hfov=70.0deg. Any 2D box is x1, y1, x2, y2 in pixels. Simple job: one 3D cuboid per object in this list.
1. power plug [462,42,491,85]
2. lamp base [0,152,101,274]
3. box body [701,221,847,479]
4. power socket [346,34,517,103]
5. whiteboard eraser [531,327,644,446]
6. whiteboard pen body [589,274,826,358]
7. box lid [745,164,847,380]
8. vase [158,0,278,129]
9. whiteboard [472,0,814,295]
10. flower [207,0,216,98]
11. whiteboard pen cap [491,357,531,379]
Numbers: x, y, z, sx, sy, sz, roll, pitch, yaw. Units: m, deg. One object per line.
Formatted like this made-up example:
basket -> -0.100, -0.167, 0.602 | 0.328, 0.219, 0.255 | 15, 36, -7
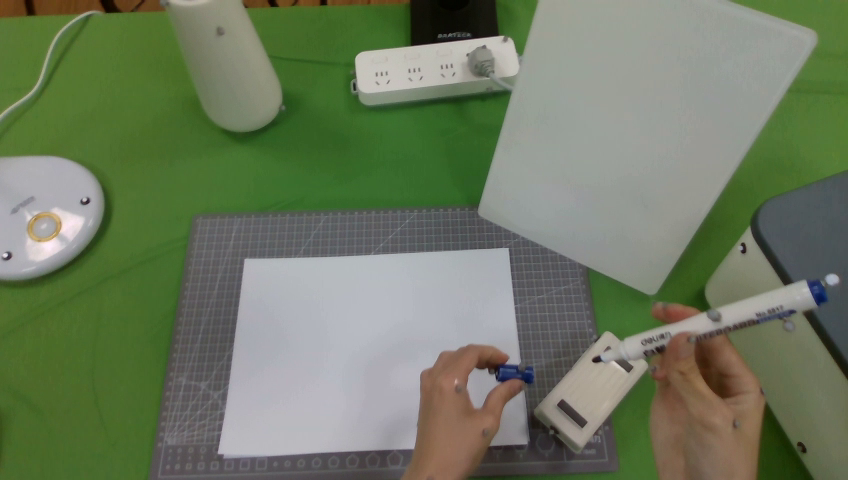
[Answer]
power plug -> 0.065, -0.213, 0.757 | 0.035, 0.053, 0.072 | 3, 70, 2
lamp base -> -0.469, -0.074, 0.636 | 0.178, 0.182, 0.160 | 28, 66, 17
box body -> 0.458, 0.115, 0.541 | 0.254, 0.161, 0.360 | -19, 65, -9
power socket -> 0.011, -0.224, 0.787 | 0.227, 0.033, 0.071 | -7, 64, -3
whiteboard eraser -> 0.160, 0.142, 0.595 | 0.055, 0.042, 0.112 | 40, 71, 20
whiteboard pen body -> 0.162, 0.050, 0.364 | 0.140, 0.017, 0.017 | -27, 57, 33
box lid -> 0.456, 0.079, 0.475 | 0.263, 0.015, 0.368 | -19, 65, -8
vase -> -0.235, -0.218, 0.694 | 0.098, 0.201, 0.097 | -1, 63, 2
whiteboard -> 0.205, -0.130, 0.621 | 0.216, 0.308, 0.143 | 27, 46, 14
flower -> -0.217, -0.248, 0.618 | 0.038, 0.362, 0.044 | 46, 63, 3
whiteboard pen cap -> 0.077, 0.113, 0.533 | 0.033, 0.018, 0.018 | 10, 63, -10
